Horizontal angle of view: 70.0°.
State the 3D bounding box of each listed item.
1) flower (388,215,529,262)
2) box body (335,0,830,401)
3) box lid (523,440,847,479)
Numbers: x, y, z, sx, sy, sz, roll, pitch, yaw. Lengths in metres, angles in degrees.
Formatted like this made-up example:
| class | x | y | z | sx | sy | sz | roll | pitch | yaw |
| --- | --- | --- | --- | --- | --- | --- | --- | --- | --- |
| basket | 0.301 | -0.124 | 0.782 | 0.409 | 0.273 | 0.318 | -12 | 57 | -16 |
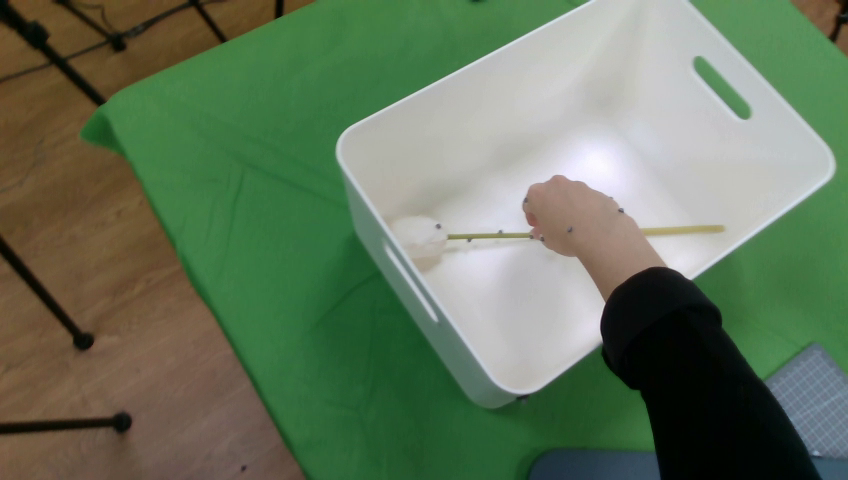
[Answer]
| class | x | y | z | sx | sy | sz | roll | pitch | yaw |
| --- | --- | --- | --- | --- | --- | --- | --- | --- | --- |
| flower | 0.132 | -0.021 | 0.650 | 0.363 | 0.044 | 0.038 | -8 | 28 | -26 |
| box body | 0.132 | -0.047 | 0.570 | 0.364 | 0.161 | 0.252 | -32 | 74 | -16 |
| box lid | 0.271 | 0.314 | 0.520 | 0.372 | 0.015 | 0.261 | 3 | 69 | -3 |
